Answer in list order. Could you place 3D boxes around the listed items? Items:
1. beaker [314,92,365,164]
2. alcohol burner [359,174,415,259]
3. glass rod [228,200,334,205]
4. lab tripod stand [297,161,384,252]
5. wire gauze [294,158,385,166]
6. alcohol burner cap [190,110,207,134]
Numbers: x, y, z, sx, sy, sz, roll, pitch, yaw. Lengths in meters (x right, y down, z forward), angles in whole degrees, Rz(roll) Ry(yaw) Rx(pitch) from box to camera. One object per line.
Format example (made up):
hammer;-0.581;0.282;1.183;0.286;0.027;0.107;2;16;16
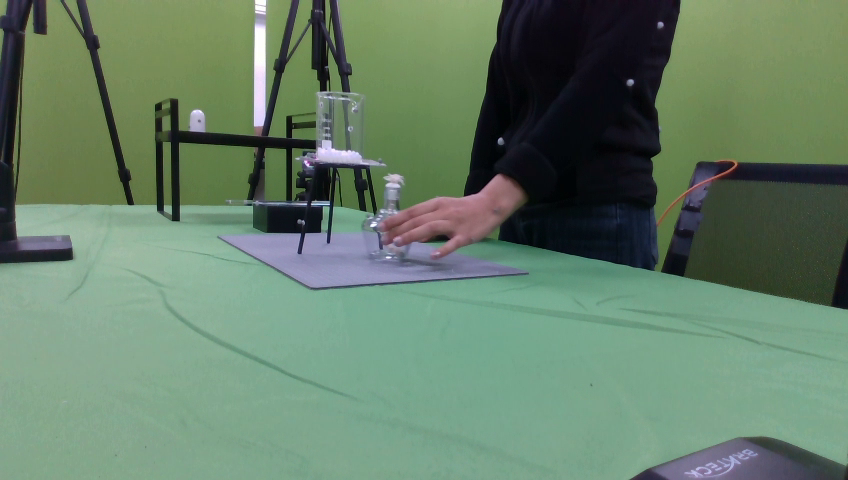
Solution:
beaker;-0.123;-0.163;0.893;0.073;0.100;0.084;8;9;30
alcohol burner;-0.050;-0.033;0.840;0.078;0.119;0.078;5;5;0
glass rod;-0.268;-0.071;1.148;0.201;0.008;0.008;-1;8;-28
lab tripod stand;-0.131;-0.051;0.903;0.148;0.131;0.148;3;9;0
wire gauze;-0.128;-0.116;0.901;0.125;0.011;0.121;-2;8;-14
alcohol burner cap;-0.463;-0.242;1.240;0.034;0.048;0.034;2;7;0
